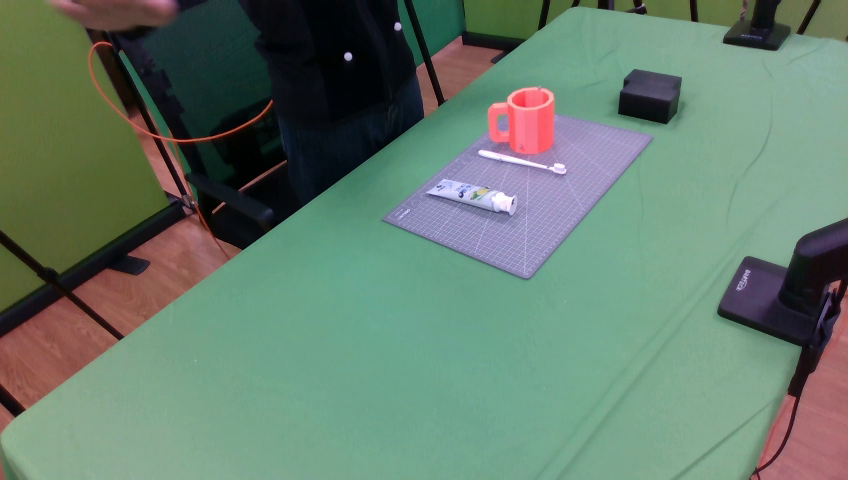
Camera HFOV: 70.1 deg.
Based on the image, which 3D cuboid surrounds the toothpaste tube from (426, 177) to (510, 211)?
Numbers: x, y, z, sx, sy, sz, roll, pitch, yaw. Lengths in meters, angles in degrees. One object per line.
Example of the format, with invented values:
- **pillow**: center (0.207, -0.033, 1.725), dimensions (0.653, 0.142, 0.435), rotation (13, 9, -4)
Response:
- **toothpaste tube**: center (0.083, -0.082, 1.054), dimensions (0.164, 0.034, 0.055), rotation (18, 40, 34)

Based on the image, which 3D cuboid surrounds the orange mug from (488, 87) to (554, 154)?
- **orange mug**: center (0.185, -0.227, 1.151), dimensions (0.126, 0.101, 0.083), rotation (1, 41, 5)

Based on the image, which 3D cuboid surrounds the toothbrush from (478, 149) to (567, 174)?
- **toothbrush**: center (0.180, -0.149, 1.123), dimensions (0.180, 0.017, 0.014), rotation (18, 62, 30)

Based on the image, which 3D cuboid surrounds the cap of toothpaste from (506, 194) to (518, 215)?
- **cap of toothpaste**: center (0.146, -0.060, 1.007), dimensions (0.011, 0.037, 0.037), rotation (14, 46, 22)
